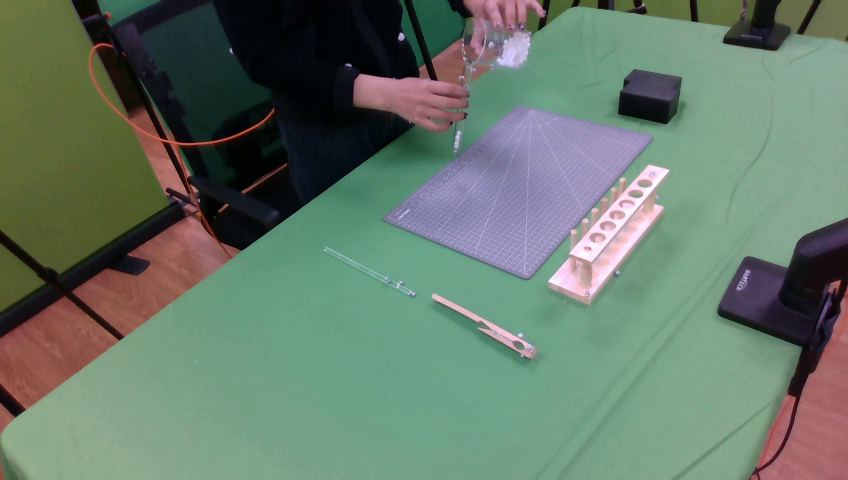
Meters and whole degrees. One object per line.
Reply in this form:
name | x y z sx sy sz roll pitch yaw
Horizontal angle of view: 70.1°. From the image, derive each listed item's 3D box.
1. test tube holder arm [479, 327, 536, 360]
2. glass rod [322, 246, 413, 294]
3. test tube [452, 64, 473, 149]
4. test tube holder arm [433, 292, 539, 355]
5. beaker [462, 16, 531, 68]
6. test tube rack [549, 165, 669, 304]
test tube holder arm | 0.110 0.134 0.805 0.087 0.015 0.010 29 83 36
glass rod | -0.093 0.045 0.956 0.198 0.008 0.008 24 51 33
test tube | 0.066 -0.232 1.061 0.017 0.150 0.017 6 29 -3
test tube holder arm | 0.081 0.113 0.832 0.177 0.015 0.013 28 82 36
beaker | 0.124 -0.330 1.028 0.101 0.084 0.073 -2 33 -28
test tube rack | 0.279 -0.018 0.902 0.066 0.085 0.243 24 50 33
